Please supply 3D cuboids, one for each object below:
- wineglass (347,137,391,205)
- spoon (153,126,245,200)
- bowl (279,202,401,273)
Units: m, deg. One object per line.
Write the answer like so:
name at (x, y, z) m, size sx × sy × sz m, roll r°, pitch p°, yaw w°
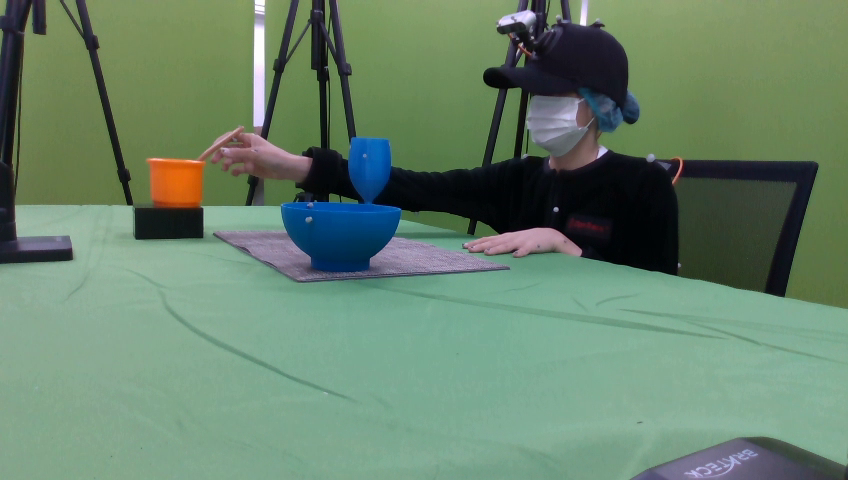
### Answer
wineglass at (-0.093, -0.081, 0.996) m, size 0.074 × 0.172 × 0.073 m, roll 3°, pitch 7°, yaw 0°
spoon at (-0.375, -0.131, 1.017) m, size 0.041 × 0.194 × 0.022 m, roll 13°, pitch -32°, yaw 55°
bowl at (-0.105, -0.003, 0.756) m, size 0.151 × 0.077 × 0.151 m, roll 3°, pitch 7°, yaw 0°
